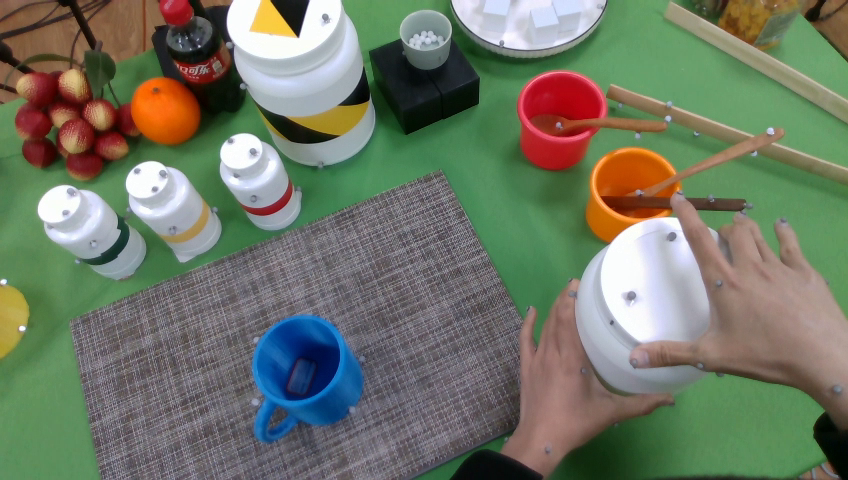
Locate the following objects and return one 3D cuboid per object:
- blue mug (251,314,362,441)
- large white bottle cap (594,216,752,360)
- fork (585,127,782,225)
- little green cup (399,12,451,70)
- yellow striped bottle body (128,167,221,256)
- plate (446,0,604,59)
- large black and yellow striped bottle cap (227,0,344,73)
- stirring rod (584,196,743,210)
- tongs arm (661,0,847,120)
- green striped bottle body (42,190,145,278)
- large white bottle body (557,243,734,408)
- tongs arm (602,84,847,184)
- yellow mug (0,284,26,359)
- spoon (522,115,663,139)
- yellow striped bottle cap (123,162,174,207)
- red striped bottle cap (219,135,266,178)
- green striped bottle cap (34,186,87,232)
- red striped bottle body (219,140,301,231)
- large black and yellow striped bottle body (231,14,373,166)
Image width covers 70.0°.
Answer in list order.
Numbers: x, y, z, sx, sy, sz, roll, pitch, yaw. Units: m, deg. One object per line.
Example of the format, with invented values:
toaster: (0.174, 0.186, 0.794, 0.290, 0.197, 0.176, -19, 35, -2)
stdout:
blue mug: (-0.117, 0.138, 0.571, 0.082, 0.106, 0.116, 31, 71, 17)
large white bottle cap: (0.191, 0.035, 0.466, 0.115, 0.018, 0.114, -1, 66, 2)
fork: (0.258, -0.063, 0.623, 0.207, 0.019, 0.028, -30, 55, 39)
little green cup: (0.001, -0.235, 0.720, 0.061, 0.039, 0.061, -1, 62, 1)
yellow striped bottle body: (-0.271, -0.035, 0.654, 0.063, 0.121, 0.062, -2, 64, 4)
plate: (0.133, -0.320, 0.808, 0.209, 0.038, 0.207, -1, 66, 2)
large black and yellow striped bottle cap: (-0.137, -0.218, 0.601, 0.115, 0.019, 0.114, -2, 68, 5)
stirring rod: (0.236, -0.038, 0.619, 0.175, 0.006, 0.014, 7, 51, 53)
tongs arm: (0.451, -0.188, 0.735, 0.385, 0.028, 0.028, 41, 67, 18)
green striped bottle body: (-0.355, -0.009, 0.647, 0.063, 0.120, 0.062, -1, 65, 2)
large white bottle body: (0.196, 0.072, 0.545, 0.130, 0.186, 0.129, -1, 65, 3)
tongs arm: (0.399, -0.120, 0.704, 0.383, 0.027, 0.050, 25, 66, 13)
yellow mug: (-0.488, 0.095, 0.636, 0.100, 0.064, 0.129, -14, 66, -4)
spoon: (0.176, -0.125, 0.659, 0.041, 0.192, 0.022, -41, 114, -18)
yellow striped bottle cap: (-0.276, -0.056, 0.606, 0.044, 0.019, 0.044, 0, 61, 0)
red striped bottle cap: (-0.185, -0.085, 0.615, 0.044, 0.018, 0.044, 0, 62, 0)
green striped bottle cap: (-0.359, -0.031, 0.600, 0.044, 0.020, 0.044, -1, 64, 1)
red striped bottle body: (-0.180, -0.063, 0.662, 0.063, 0.120, 0.062, -2, 65, 5)
large black and yellow striped bottle body: (-0.134, -0.183, 0.679, 0.131, 0.185, 0.129, -1, 65, 3)
